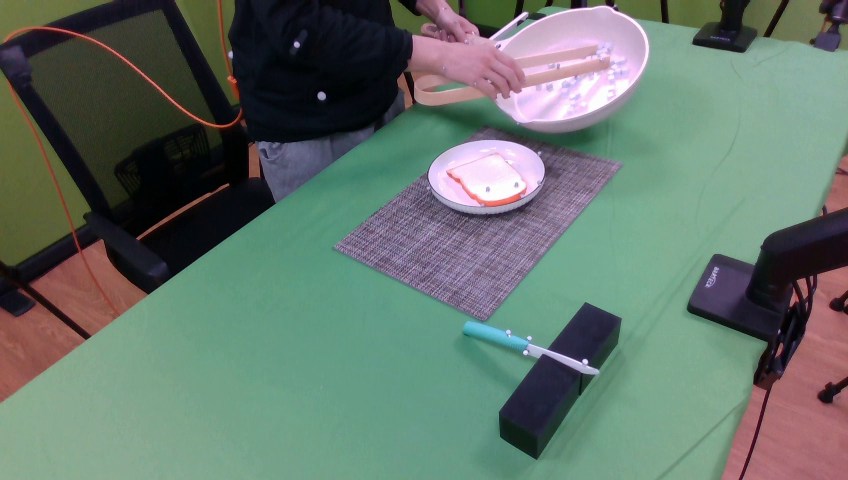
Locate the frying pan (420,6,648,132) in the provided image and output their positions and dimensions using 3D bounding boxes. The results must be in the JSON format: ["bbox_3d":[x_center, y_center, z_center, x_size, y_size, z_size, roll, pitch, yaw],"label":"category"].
[{"bbox_3d":[0.188,-0.356,1.179,0.484,0.103,0.307,29,71,27],"label":"frying pan"}]

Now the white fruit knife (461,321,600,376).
[{"bbox_3d":[0.126,0.133,0.752,0.205,0.027,0.016,12,45,42],"label":"white fruit knife"}]

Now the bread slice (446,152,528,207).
[{"bbox_3d":[0.117,-0.105,1.056,0.107,0.018,0.133,-24,42,-18],"label":"bread slice"}]

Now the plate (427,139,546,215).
[{"bbox_3d":[0.109,-0.107,1.058,0.207,0.039,0.206,-4,40,4],"label":"plate"}]

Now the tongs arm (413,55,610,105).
[{"bbox_3d":[0.164,-0.296,1.091,0.386,0.026,0.050,-18,51,-19],"label":"tongs arm"}]

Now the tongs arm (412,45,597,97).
[{"bbox_3d":[0.154,-0.315,1.109,0.389,0.028,0.028,-15,54,-17],"label":"tongs arm"}]
